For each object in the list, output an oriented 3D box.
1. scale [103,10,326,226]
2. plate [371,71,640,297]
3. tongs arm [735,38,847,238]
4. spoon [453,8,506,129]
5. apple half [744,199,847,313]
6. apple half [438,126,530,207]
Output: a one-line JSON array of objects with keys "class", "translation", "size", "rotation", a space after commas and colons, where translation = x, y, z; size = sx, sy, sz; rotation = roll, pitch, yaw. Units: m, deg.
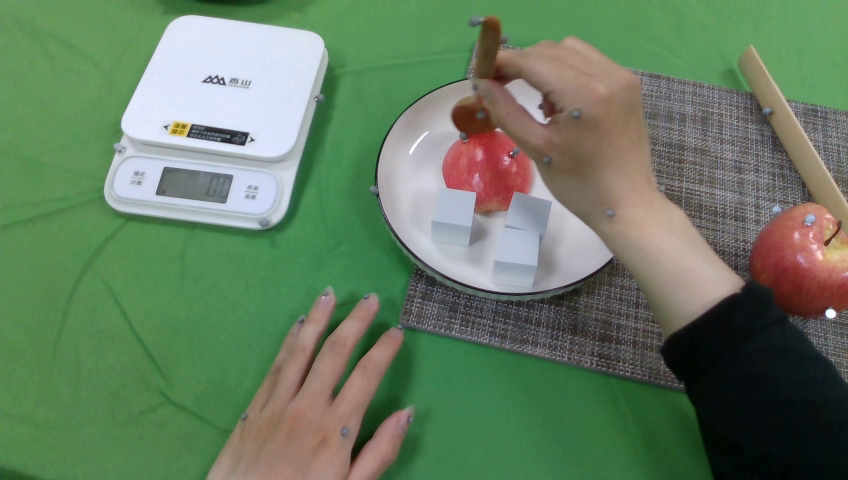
[{"class": "scale", "translation": [-0.174, -0.110, 0.517], "size": [0.148, 0.032, 0.199], "rotation": [8, 62, 2]}, {"class": "plate", "translation": [0.063, -0.046, 0.486], "size": [0.209, 0.038, 0.207], "rotation": [1, 62, -2]}, {"class": "tongs arm", "translation": [0.344, -0.017, 0.488], "size": [0.028, 0.028, 0.384], "rotation": [-9, 63, -11]}, {"class": "spoon", "translation": [0.043, -0.110, 0.424], "size": [0.041, 0.194, 0.021], "rotation": [16, 87, 2]}, {"class": "apple half", "translation": [0.267, 0.018, 0.441], "size": [0.053, 0.075, 0.080], "rotation": [-23, 68, -9]}, {"class": "apple half", "translation": [0.051, -0.065, 0.489], "size": [0.081, 0.033, 0.080], "rotation": [1, 59, -1]}]
